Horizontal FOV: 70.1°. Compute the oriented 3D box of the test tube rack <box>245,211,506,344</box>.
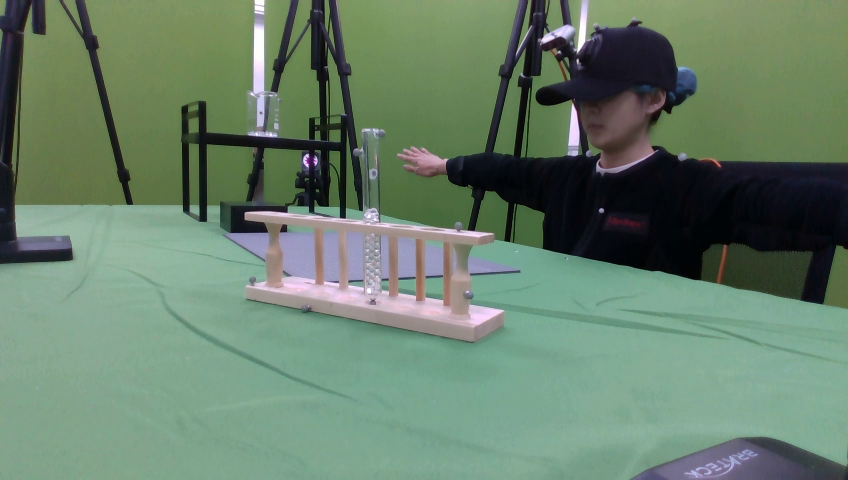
[{"bbox_3d":[-0.049,0.025,0.547,0.241,0.085,0.067,7,8,28],"label":"test tube rack"}]

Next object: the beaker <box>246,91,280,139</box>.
[{"bbox_3d":[-0.361,-0.279,1.351,0.074,0.100,0.084,3,8,1],"label":"beaker"}]

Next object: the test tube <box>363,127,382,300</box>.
[{"bbox_3d":[-0.044,-0.022,0.524,0.017,0.150,0.017,0,6,0],"label":"test tube"}]
